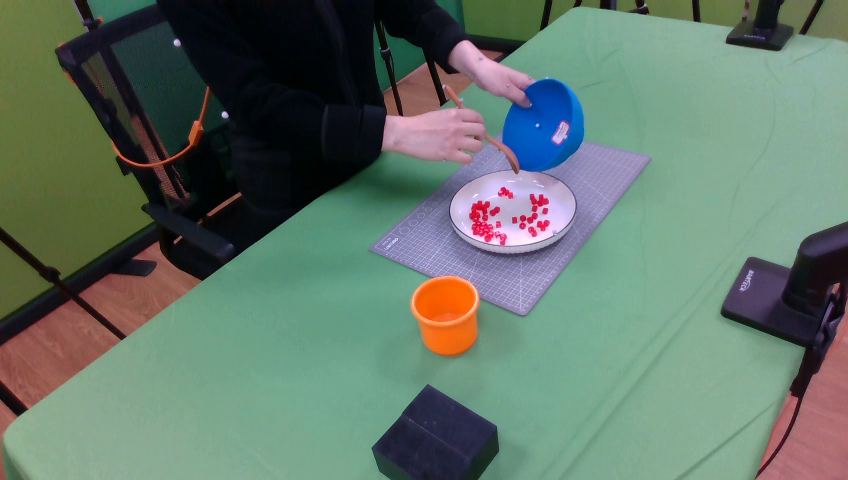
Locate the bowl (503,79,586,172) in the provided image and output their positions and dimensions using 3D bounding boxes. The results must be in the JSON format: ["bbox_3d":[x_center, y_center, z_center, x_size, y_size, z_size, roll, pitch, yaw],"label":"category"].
[{"bbox_3d":[0.209,-0.178,0.986,0.077,0.151,0.150,11,26,-37],"label":"bowl"}]

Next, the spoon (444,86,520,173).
[{"bbox_3d":[0.092,-0.166,0.924,0.021,0.195,0.041,-44,33,14],"label":"spoon"}]

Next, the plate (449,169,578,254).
[{"bbox_3d":[0.146,-0.044,0.993,0.209,0.038,0.208,-5,40,5],"label":"plate"}]
